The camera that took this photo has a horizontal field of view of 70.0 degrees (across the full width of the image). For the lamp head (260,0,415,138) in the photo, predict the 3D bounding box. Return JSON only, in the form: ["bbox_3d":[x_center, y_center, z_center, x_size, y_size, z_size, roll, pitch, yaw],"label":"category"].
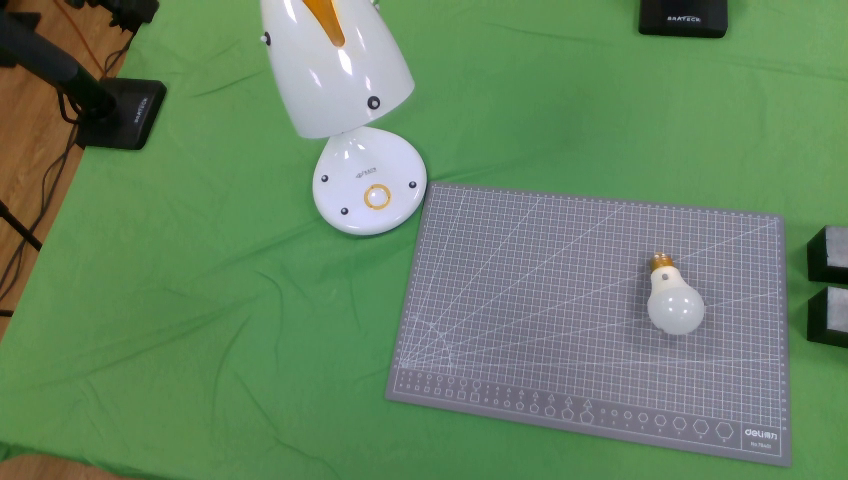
[{"bbox_3d":[-0.080,-0.162,0.497,0.112,0.124,0.111,-20,26,10],"label":"lamp head"}]

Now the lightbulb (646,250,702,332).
[{"bbox_3d":[0.285,0.057,0.706,0.059,0.060,0.106,-7,51,6],"label":"lightbulb"}]

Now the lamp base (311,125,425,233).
[{"bbox_3d":[-0.095,-0.122,0.769,0.160,0.182,0.177,-33,64,-6],"label":"lamp base"}]
